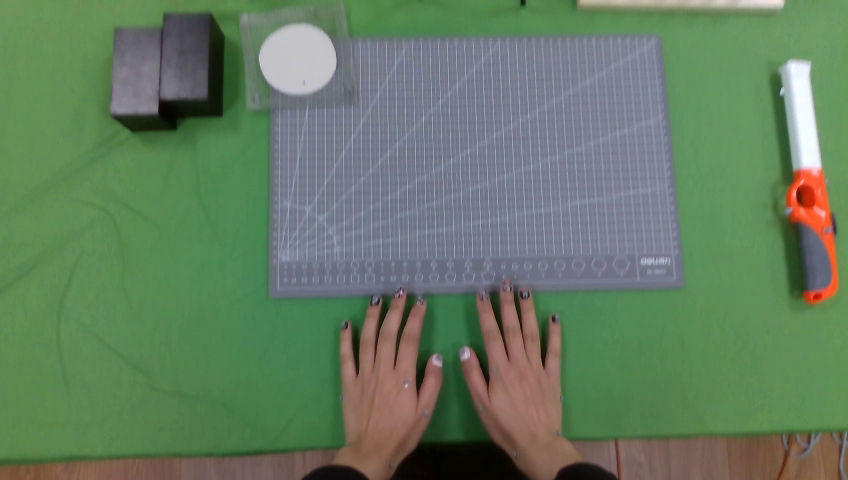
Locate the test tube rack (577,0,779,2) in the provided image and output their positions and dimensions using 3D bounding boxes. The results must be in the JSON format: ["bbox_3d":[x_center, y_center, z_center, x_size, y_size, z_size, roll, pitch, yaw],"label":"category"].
[{"bbox_3d":[0.299,-0.320,0.678,0.242,0.085,0.066,0,81,-1],"label":"test tube rack"}]

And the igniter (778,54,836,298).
[{"bbox_3d":[0.425,-0.074,0.674,0.057,0.025,0.275,1,81,-12],"label":"igniter"}]

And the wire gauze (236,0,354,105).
[{"bbox_3d":[-0.146,-0.214,0.684,0.125,0.011,0.121,-7,81,-2],"label":"wire gauze"}]
